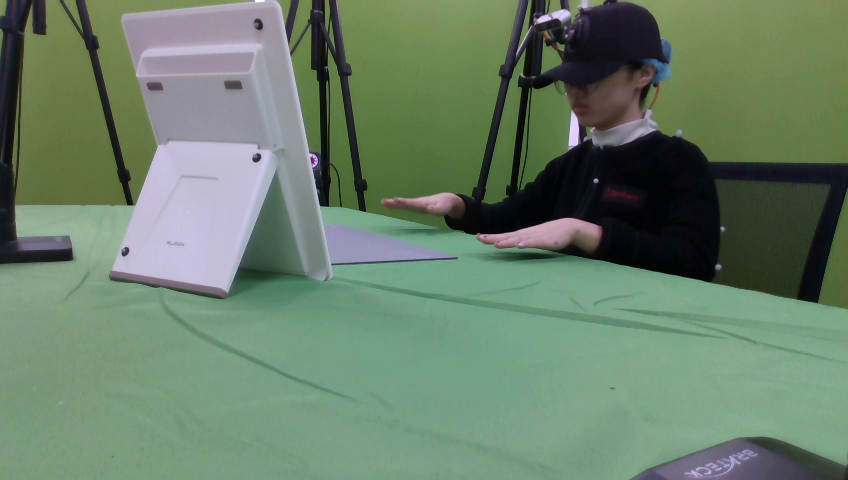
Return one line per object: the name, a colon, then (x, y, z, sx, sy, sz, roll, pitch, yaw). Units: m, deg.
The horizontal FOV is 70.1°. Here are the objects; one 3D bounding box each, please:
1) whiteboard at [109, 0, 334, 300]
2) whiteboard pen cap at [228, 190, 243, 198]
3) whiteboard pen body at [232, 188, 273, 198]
whiteboard: (-0.247, -0.072, 0.624, 0.216, 0.305, 0.144, 6, 28, 26)
whiteboard pen cap: (-0.388, -0.096, 1.248, 0.018, 0.018, 0.033, 4, 8, 18)
whiteboard pen body: (-0.370, -0.101, 1.303, 0.017, 0.017, 0.141, 4, 9, 18)
